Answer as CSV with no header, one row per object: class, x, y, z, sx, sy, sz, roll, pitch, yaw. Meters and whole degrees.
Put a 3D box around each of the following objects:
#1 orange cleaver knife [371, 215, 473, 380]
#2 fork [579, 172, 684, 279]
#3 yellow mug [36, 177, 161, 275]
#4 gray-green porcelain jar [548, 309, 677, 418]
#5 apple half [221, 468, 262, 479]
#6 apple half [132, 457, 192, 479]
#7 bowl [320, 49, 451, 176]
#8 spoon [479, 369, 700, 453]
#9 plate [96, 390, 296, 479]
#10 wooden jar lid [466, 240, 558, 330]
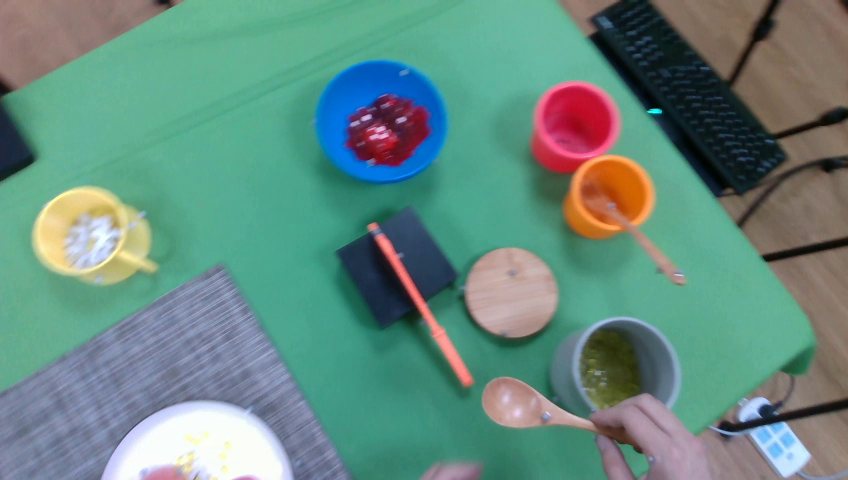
orange cleaver knife,-0.003,0.065,0.682,0.012,0.077,0.212,-31,105,-5
fork,0.227,-0.022,0.674,0.028,0.019,0.205,-15,35,-6
yellow mug,-0.360,-0.007,0.691,0.131,0.064,0.099,28,78,3
gray-green porcelain jar,0.195,0.134,0.652,0.106,0.127,0.105,1,77,-2
apple half,-0.198,0.286,0.639,0.081,0.033,0.081,0,75,0
apple half,-0.277,0.273,0.630,0.074,0.053,0.080,-35,82,-6
bowl,-0.045,-0.140,0.725,0.151,0.077,0.150,0,78,-2
spoon,0.141,0.153,0.519,0.193,0.022,0.041,15,67,7
plate,-0.240,0.267,0.648,0.209,0.038,0.208,1,78,-3
wooden jar lid,0.103,0.054,0.720,0.108,0.021,0.108,0,79,-1
